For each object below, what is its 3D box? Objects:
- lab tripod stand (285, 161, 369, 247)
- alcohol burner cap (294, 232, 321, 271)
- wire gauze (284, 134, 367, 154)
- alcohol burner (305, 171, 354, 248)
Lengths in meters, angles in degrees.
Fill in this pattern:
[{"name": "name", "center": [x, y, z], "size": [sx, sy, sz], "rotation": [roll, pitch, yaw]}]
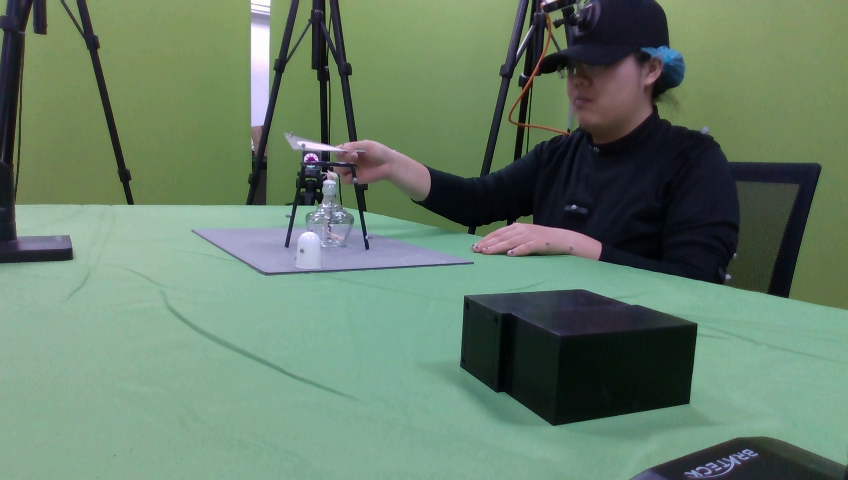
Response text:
[{"name": "lab tripod stand", "center": [-0.151, -0.058, 0.947], "size": [0.148, 0.131, 0.148], "rotation": [1, 6, 0]}, {"name": "alcohol burner cap", "center": [-0.144, 0.013, 0.748], "size": [0.034, 0.048, 0.034], "rotation": [3, 6, 0]}, {"name": "wire gauze", "center": [-0.167, -0.158, 1.017], "size": [0.122, 0.011, 0.124], "rotation": [5, 14, -23]}, {"name": "alcohol burner", "center": [-0.148, -0.048, 0.949], "size": [0.078, 0.119, 0.078], "rotation": [1, 6, 0]}]
